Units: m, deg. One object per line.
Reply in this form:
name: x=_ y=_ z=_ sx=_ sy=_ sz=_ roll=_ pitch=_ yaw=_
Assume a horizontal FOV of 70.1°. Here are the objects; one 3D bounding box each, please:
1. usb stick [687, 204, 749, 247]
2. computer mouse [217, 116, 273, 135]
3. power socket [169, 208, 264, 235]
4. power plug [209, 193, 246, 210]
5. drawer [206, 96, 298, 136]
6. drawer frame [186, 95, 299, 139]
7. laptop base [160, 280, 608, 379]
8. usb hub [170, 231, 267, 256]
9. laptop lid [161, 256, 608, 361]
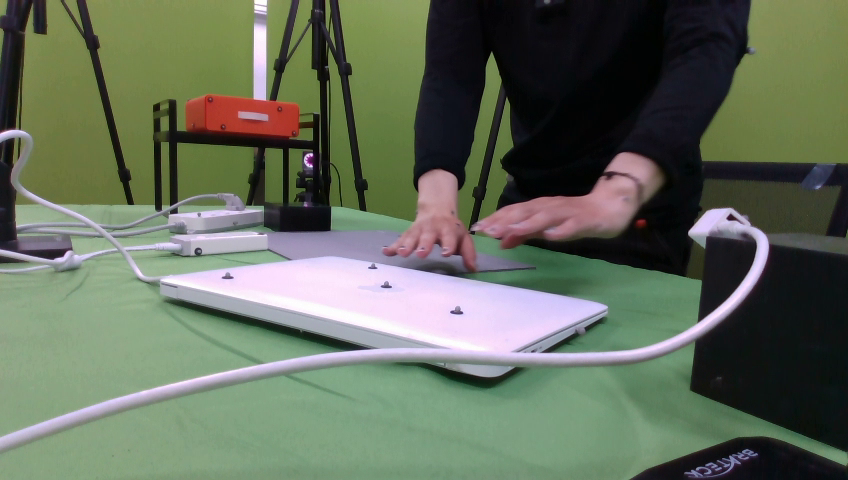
usb stick: x=0.214 y=-0.010 z=0.448 sx=0.021 sy=0.027 sz=0.059 roll=39 pitch=2 yaw=6
computer mouse: x=-0.401 y=-0.258 z=1.354 sx=0.118 sy=0.041 sz=0.062 roll=-6 pitch=15 yaw=-34
power socket: x=-0.381 y=-0.038 z=1.129 sx=0.072 sy=0.032 sz=0.227 roll=4 pitch=8 yaw=16
power plug: x=-0.388 y=-0.067 z=1.205 sx=0.072 sy=0.052 sz=0.035 roll=3 pitch=8 yaw=26
drawer: x=-0.413 y=-0.277 z=1.376 sx=0.195 sy=0.073 sz=0.210 roll=-3 pitch=10 yaw=-31
drawer frame: x=-0.417 y=-0.277 z=1.378 sx=0.203 sy=0.082 sz=0.212 roll=-3 pitch=8 yaw=-32
laptop base: x=-0.038 y=0.059 z=0.555 sx=0.352 sy=0.023 sz=0.237 roll=7 pitch=7 yaw=33
usb hub: x=-0.290 y=0.004 z=0.862 sx=0.049 sy=0.025 sz=0.126 roll=10 pitch=11 yaw=42
laptop lid: x=-0.037 y=0.046 z=0.556 sx=0.355 sy=0.013 sz=0.243 roll=8 pitch=8 yaw=35
